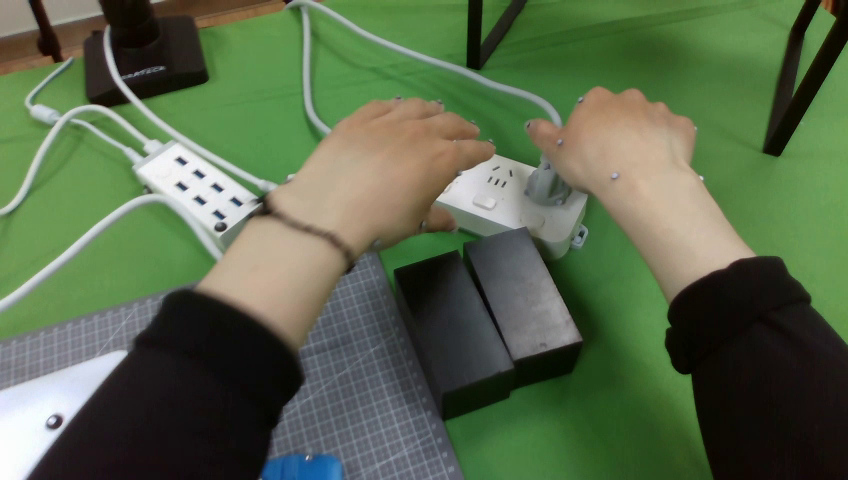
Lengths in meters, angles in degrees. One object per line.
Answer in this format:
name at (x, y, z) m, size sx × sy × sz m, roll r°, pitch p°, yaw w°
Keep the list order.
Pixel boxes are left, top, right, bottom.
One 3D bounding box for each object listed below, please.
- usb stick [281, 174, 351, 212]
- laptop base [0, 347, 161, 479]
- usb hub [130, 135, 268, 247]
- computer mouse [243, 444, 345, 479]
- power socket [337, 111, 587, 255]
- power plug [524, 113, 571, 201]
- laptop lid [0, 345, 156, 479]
usb stick at (-0.091, -0.039, 0.519) m, size 0.059 × 0.027 × 0.021 m, roll 10°, pitch 13°, yaw -4°
laptop base at (-0.324, 0.221, 0.345) m, size 0.355 × 0.023 × 0.233 m, roll -20°, pitch 60°, yaw -12°
usb hub at (-0.197, -0.045, 0.528) m, size 0.124 × 0.025 × 0.049 m, roll 33°, pitch 61°, yaw 23°
computer mouse at (-0.077, 0.176, 0.354) m, size 0.063 × 0.041 × 0.116 m, roll -9°, pitch 50°, yaw -1°
power socket at (0.031, -0.053, 0.522) m, size 0.225 × 0.033 × 0.072 m, roll 22°, pitch 57°, yaw 17°
power plug at (0.110, -0.061, 0.499) m, size 0.035 × 0.053 × 0.072 m, roll 32°, pitch 63°, yaw 21°
laptop lid at (-0.324, 0.216, 0.334) m, size 0.357 × 0.013 × 0.239 m, roll -18°, pitch 58°, yaw -11°
